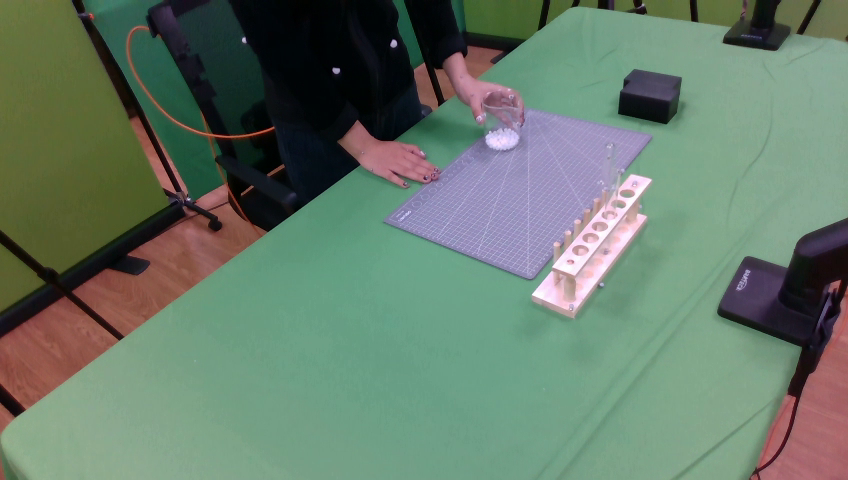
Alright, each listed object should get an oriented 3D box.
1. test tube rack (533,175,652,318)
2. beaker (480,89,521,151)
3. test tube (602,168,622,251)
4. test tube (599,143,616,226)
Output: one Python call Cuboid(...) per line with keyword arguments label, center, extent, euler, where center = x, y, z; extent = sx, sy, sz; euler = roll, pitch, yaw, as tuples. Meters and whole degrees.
Cuboid(label="test tube rack", center=(0.250, -0.001, 0.889), extent=(0.066, 0.085, 0.243), euler=(23, 49, 33))
Cuboid(label="beaker", center=(0.152, -0.227, 1.159), extent=(0.074, 0.101, 0.083), euler=(-35, 47, -26))
Cuboid(label="test tube", center=(0.264, -0.039, 0.854), extent=(0.017, 0.151, 0.017), euler=(-5, 44, 6))
Cuboid(label="test tube", center=(0.273, -0.081, 0.909), extent=(0.017, 0.151, 0.017), euler=(-4, 42, 4))
